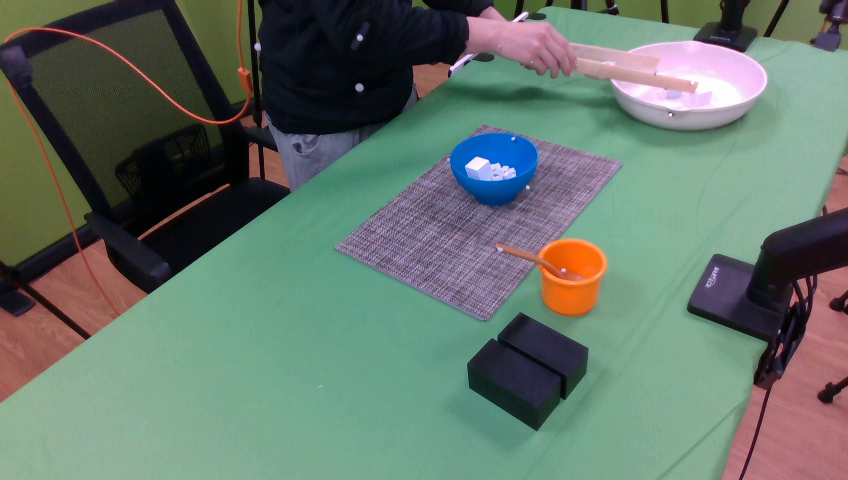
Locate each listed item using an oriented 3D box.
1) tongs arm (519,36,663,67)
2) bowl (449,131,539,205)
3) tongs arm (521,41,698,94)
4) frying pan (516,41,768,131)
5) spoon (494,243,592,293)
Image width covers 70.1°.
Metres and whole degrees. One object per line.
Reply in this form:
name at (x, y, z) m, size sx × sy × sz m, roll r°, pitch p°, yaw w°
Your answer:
tongs arm at (0.333, -0.362, 1.173) m, size 0.390 × 0.028 × 0.028 m, roll -5°, pitch 48°, yaw -32°
bowl at (0.120, -0.113, 1.034) m, size 0.151 × 0.077 × 0.150 m, roll -4°, pitch 41°, yaw 4°
tongs arm at (0.356, -0.319, 1.129) m, size 0.387 × 0.026 × 0.050 m, roll 1°, pitch 42°, yaw -25°
frying pan at (0.424, -0.337, 1.236) m, size 0.486 × 0.103 × 0.307 m, roll 18°, pitch 45°, yaw 15°
spoon at (0.161, 0.034, 0.808) m, size 0.021 × 0.195 × 0.041 m, roll -48°, pitch 39°, yaw 20°
